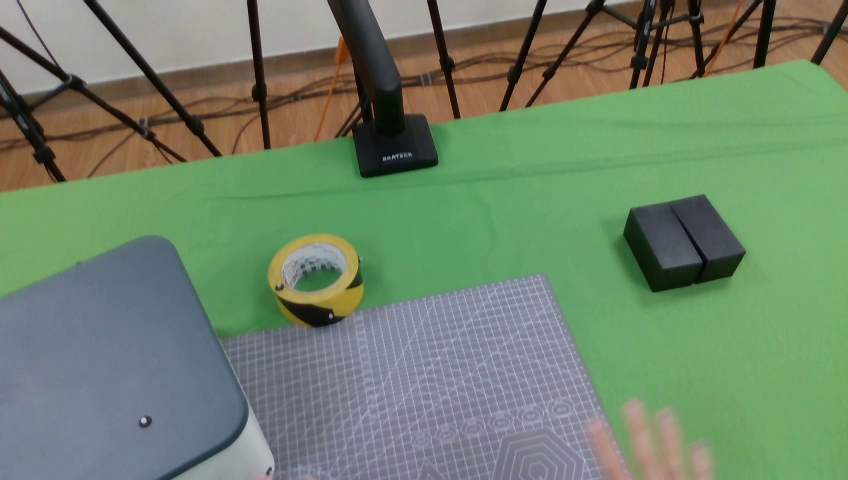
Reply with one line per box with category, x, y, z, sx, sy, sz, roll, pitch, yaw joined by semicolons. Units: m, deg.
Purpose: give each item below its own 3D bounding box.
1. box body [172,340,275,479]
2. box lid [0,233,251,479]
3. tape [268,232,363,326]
box body;-0.356;0.196;0.578;0.364;0.162;0.251;-27;55;-17
box lid;-0.357;0.149;0.519;0.372;0.015;0.260;-27;56;-17
tape;-0.135;0.047;0.756;0.117;0.053;0.115;-1;49;2
